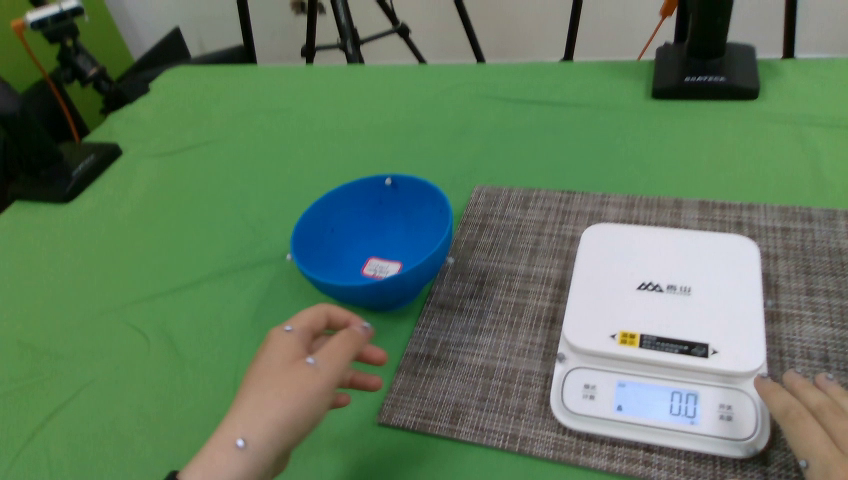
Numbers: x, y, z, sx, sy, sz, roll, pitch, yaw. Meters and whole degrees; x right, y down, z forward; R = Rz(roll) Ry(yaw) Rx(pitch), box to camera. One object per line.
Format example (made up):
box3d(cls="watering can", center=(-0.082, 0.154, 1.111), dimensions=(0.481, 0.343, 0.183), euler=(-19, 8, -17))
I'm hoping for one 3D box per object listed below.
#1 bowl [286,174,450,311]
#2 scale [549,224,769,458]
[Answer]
box3d(cls="bowl", center=(-0.044, 0.014, 0.569), dimensions=(0.151, 0.077, 0.150), euler=(-7, 42, 7))
box3d(cls="scale", center=(0.186, 0.067, 0.482), dimensions=(0.148, 0.032, 0.199), euler=(5, 45, 20))
